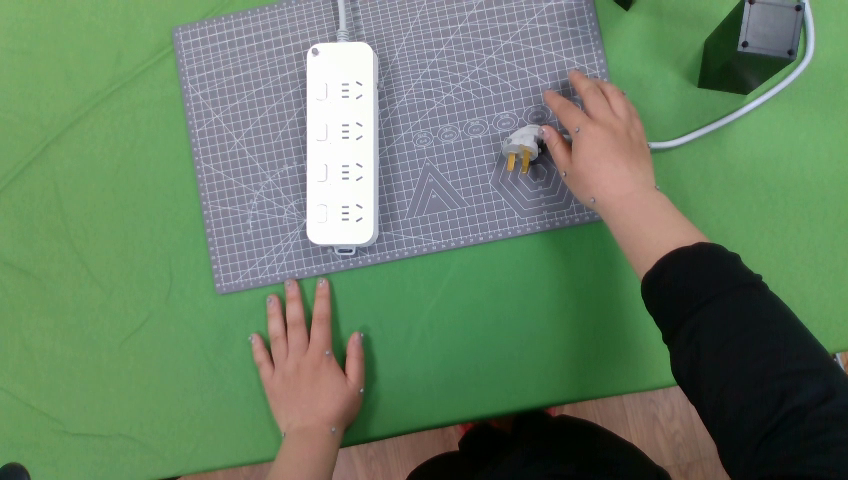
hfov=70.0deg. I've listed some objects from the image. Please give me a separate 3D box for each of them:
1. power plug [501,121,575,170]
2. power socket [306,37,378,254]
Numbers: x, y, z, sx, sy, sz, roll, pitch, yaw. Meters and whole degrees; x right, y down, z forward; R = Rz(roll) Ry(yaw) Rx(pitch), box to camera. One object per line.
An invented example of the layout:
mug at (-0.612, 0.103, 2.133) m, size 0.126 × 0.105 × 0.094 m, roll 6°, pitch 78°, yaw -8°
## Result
power plug at (0.113, -0.094, 0.607) m, size 0.072 × 0.035 × 0.052 m, roll 3°, pitch 71°, yaw 15°
power socket at (-0.085, -0.099, 0.630) m, size 0.072 × 0.032 × 0.226 m, roll -1°, pitch 87°, yaw 4°
